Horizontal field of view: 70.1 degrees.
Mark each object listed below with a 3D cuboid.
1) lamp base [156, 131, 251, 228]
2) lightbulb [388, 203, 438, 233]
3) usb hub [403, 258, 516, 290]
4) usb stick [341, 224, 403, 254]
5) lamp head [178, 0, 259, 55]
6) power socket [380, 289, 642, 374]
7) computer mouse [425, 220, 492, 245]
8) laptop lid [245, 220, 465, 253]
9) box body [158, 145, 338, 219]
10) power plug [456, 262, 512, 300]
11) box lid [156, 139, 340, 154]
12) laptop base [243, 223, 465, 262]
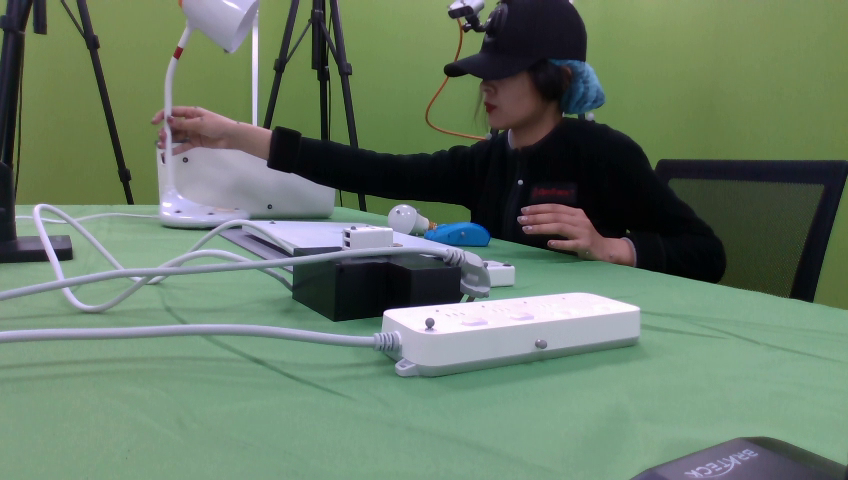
[{"bbox_3d":[-0.427,-0.118,1.141,0.179,0.180,0.160,-4,9,-2],"label":"lamp base"},{"bbox_3d":[-0.017,-0.035,1.161,0.108,0.059,0.059,16,0,-27],"label":"lightbulb"},{"bbox_3d":[0.042,0.038,0.690,0.126,0.025,0.049,-2,9,-30],"label":"usb hub"},{"bbox_3d":[-0.047,-0.001,0.567,0.059,0.027,0.021,0,4,-32],"label":"usb stick"},{"bbox_3d":[-0.376,-0.408,1.089,0.123,0.112,0.112,22,3,-13],"label":"lamp head"},{"bbox_3d":[0.072,0.064,0.461,0.228,0.032,0.072,-2,7,-30],"label":"power socket"},{"bbox_3d":[0.060,-0.013,1.060,0.117,0.041,0.062,-2,10,-6],"label":"computer mouse"},{"bbox_3d":[-0.124,-0.009,0.945,0.243,0.013,0.355,1,7,-29],"label":"laptop lid"},{"bbox_3d":[-0.410,-0.139,1.414,0.366,0.160,0.253,-3,9,-33],"label":"box body"},{"bbox_3d":[0.052,0.051,0.543,0.035,0.052,0.072,6,37,-19],"label":"power plug"},{"bbox_3d":[-0.409,-0.213,1.404,0.373,0.015,0.262,-2,8,-32],"label":"box lid"},{"bbox_3d":[-0.127,0.003,0.946,0.237,0.023,0.352,2,6,-31],"label":"laptop base"}]
